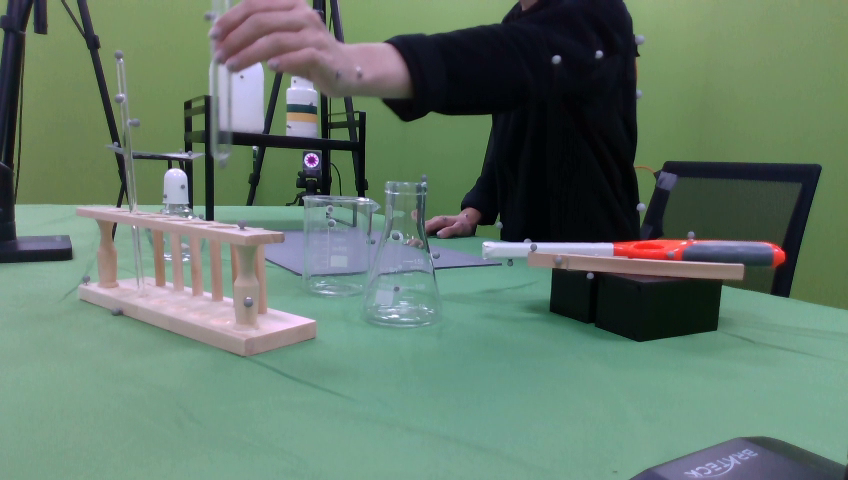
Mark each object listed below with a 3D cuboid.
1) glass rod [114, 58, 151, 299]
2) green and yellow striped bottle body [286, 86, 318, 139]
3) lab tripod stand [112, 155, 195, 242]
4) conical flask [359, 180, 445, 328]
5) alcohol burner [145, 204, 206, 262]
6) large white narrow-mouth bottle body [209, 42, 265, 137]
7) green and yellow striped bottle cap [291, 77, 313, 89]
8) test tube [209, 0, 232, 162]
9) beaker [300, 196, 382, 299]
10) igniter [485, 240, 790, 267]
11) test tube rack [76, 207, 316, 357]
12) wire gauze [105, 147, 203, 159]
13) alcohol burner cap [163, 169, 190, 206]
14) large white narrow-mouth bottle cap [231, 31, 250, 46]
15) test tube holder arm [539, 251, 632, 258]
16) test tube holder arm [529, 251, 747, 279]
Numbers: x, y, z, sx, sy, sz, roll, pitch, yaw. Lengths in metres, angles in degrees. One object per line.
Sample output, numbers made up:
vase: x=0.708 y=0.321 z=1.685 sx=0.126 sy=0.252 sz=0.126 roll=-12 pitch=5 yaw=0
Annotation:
glass rod: x=-0.236 y=-0.044 z=0.492 sx=0.008 sy=0.199 sz=0.008 roll=0 pitch=15 yaw=0
green and yellow striped bottle body: x=-0.251 y=-0.270 z=1.245 sx=0.063 sy=0.119 sz=0.063 roll=2 pitch=7 yaw=0
lab tripod stand: x=-0.405 y=-0.064 z=0.931 sx=0.148 sy=0.131 sz=0.148 roll=1 pitch=6 yaw=0
conical flask: x=-0.017 y=0.010 z=0.522 sx=0.075 sy=0.122 sz=0.075 roll=2 pitch=7 yaw=0
alcohol burner: x=-0.321 y=-0.031 z=0.788 sx=0.078 sy=0.119 sz=0.078 roll=1 pitch=7 yaw=0
large white narrow-mouth bottle body: x=-0.361 y=-0.303 z=1.175 sx=0.102 sy=0.194 sz=0.102 roll=4 pitch=6 yaw=0
green and yellow striped bottle cap: x=-0.249 y=-0.321 z=1.237 sx=0.045 sy=0.020 sz=0.045 roll=3 pitch=5 yaw=0
test tube: x=-0.159 y=-0.136 z=0.473 sx=0.017 sy=0.150 sz=0.017 roll=4 pitch=8 yaw=0
beaker: x=-0.087 y=0.006 z=0.626 sx=0.084 sy=0.100 sz=0.074 roll=1 pitch=7 yaw=-16
igniter: x=0.197 y=0.012 z=0.585 sx=0.276 sy=0.025 sz=0.057 roll=1 pitch=5 yaw=12
test tube rack: x=-0.196 y=0.023 z=0.500 sx=0.241 sy=0.085 sz=0.067 roll=7 pitch=9 yaw=36
wire gauze: x=-0.408 y=-0.131 z=0.929 sx=0.125 sy=0.011 sz=0.121 roll=2 pitch=6 yaw=-11
alcohol burner cap: x=-0.321 y=-0.067 z=0.782 sx=0.034 sy=0.048 sz=0.034 roll=1 pitch=7 yaw=0
large white narrow-mouth bottle cap: x=-0.354 y=-0.388 z=1.167 sx=0.038 sy=0.024 sz=0.037 roll=4 pitch=6 yaw=0
test tube holder arm: x=0.139 y=0.019 z=0.538 sx=0.087 sy=0.015 sz=0.010 roll=4 pitch=9 yaw=14
test tube holder arm: x=0.182 y=0.022 z=0.522 sx=0.178 sy=0.015 sz=0.013 roll=3 pitch=9 yaw=13
